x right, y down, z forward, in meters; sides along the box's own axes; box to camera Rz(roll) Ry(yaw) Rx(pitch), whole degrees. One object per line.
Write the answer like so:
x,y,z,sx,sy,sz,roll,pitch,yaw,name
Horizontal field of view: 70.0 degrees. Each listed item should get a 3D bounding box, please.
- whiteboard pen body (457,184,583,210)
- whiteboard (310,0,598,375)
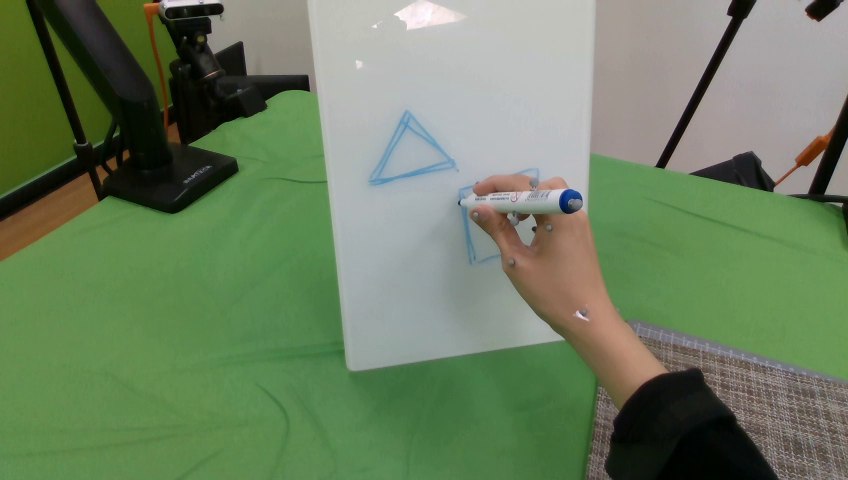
0.059,-0.029,0.422,0.017,0.017,0.140,-19,11,-25,whiteboard pen body
0.022,-0.063,0.544,0.218,0.307,0.142,-6,19,-10,whiteboard
